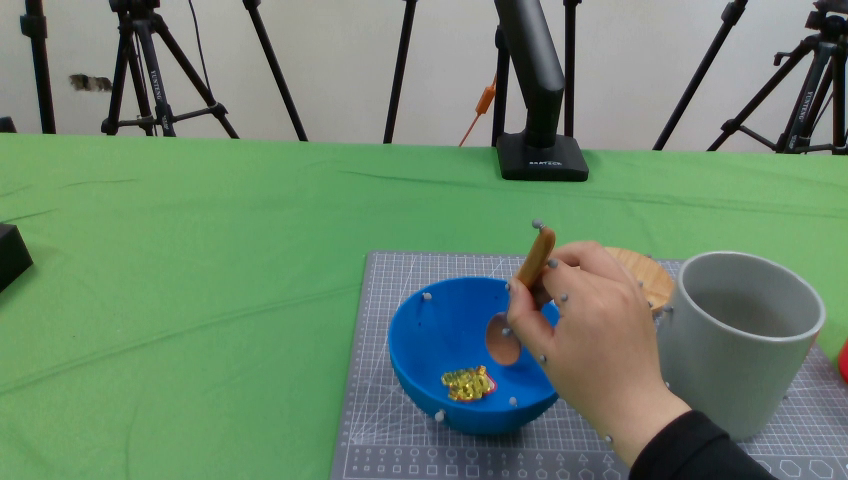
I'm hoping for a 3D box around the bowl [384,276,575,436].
[{"bbox_3d":[0.043,0.107,0.500,0.151,0.077,0.150,1,36,-1],"label":"bowl"}]

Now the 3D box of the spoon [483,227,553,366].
[{"bbox_3d":[0.065,0.047,0.434,0.021,0.195,0.041,-25,64,-14],"label":"spoon"}]

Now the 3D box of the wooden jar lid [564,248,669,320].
[{"bbox_3d":[0.202,0.047,0.641,0.108,0.021,0.107,1,35,0],"label":"wooden jar lid"}]

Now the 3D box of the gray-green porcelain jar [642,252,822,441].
[{"bbox_3d":[0.240,0.090,0.491,0.106,0.127,0.105,1,36,0],"label":"gray-green porcelain jar"}]
